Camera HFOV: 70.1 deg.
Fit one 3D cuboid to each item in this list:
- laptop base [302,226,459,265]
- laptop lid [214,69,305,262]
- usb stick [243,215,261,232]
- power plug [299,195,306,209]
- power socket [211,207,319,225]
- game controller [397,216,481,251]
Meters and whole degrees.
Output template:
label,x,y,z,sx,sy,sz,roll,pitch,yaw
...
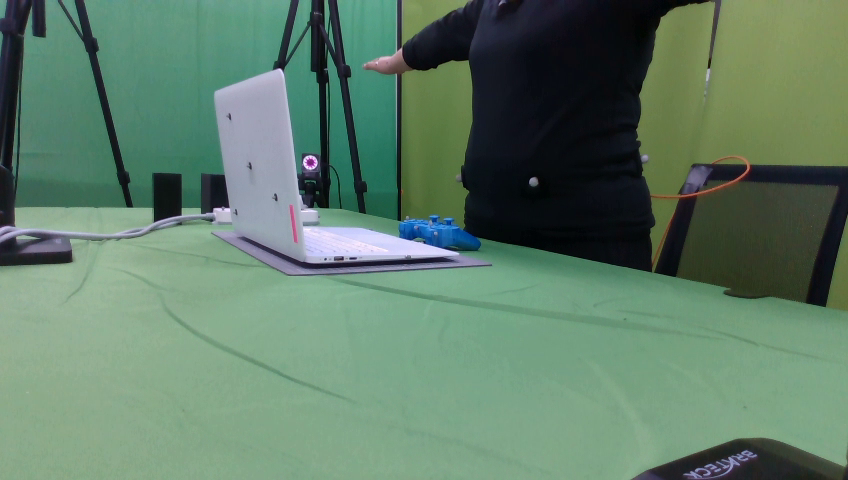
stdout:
label,x,y,z,sx,sy,sz,roll,pitch,yaw
laptop base,-0.136,0.007,0.951,0.237,0.023,0.352,2,6,-32
laptop lid,-0.246,-0.107,0.865,0.013,0.241,0.355,-11,14,-30
usb stick,-0.303,-0.028,1.070,0.021,0.027,0.059,-1,11,-31
power plug,-0.283,-0.075,1.342,0.035,0.052,0.072,0,4,-18
power socket,-0.334,-0.051,1.281,0.228,0.032,0.072,-1,9,-29
game controller,0.020,-0.013,1.052,0.097,0.051,0.154,-4,9,-30
